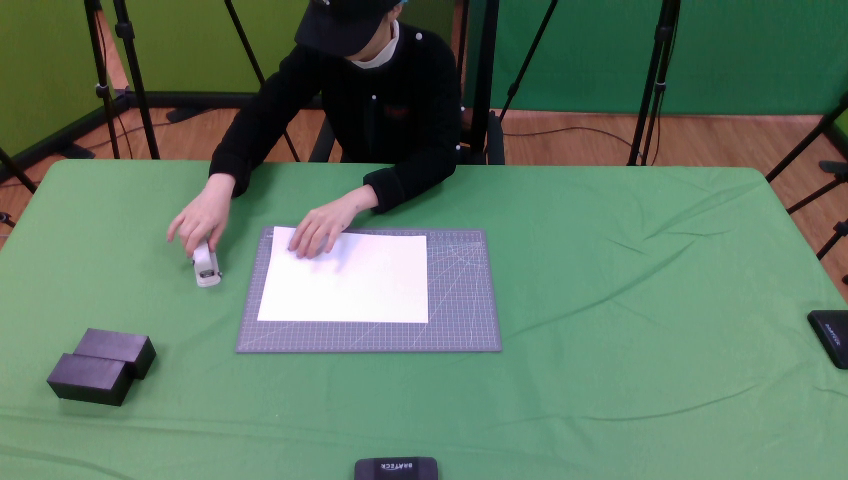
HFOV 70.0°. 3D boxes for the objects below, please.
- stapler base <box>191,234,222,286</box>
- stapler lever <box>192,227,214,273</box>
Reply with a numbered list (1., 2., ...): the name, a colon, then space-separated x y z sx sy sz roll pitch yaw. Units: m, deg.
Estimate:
1. stapler base: -0.410 0.031 1.135 0.041 0.024 0.129 -12 46 -19
2. stapler lever: -0.410 0.013 1.119 0.027 0.040 0.117 -12 48 -19
